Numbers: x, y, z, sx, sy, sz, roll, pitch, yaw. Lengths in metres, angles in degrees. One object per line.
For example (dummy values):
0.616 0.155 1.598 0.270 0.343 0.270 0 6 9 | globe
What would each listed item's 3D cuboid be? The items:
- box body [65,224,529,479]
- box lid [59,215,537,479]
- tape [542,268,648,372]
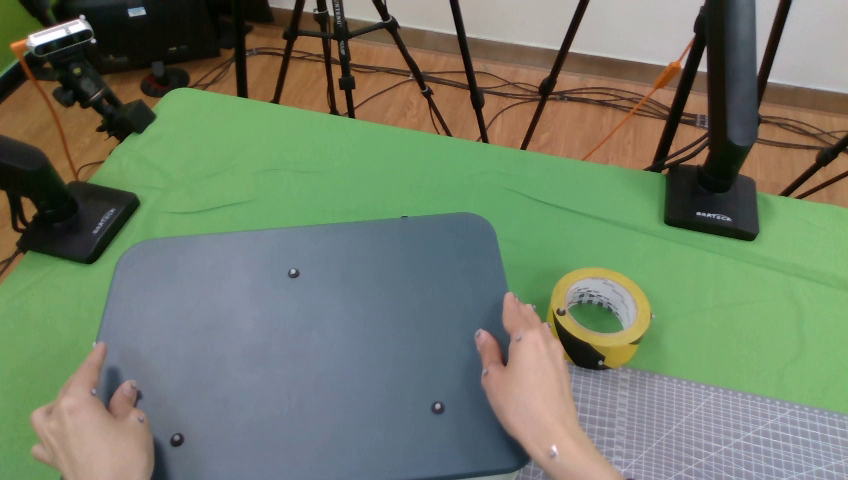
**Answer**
-0.102 0.141 0.596 0.364 0.162 0.251 -5 51 -3 | box body
-0.101 0.092 0.531 0.372 0.015 0.260 -5 52 -4 | box lid
0.196 0.091 0.706 0.117 0.053 0.115 1 49 0 | tape
